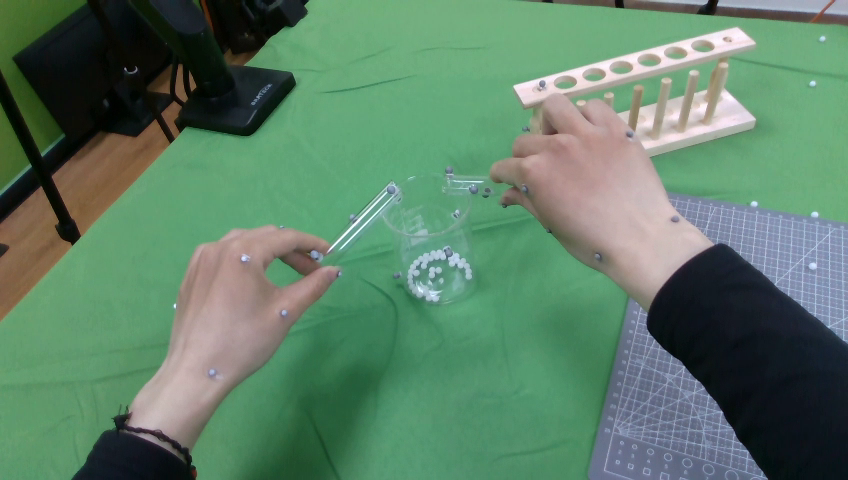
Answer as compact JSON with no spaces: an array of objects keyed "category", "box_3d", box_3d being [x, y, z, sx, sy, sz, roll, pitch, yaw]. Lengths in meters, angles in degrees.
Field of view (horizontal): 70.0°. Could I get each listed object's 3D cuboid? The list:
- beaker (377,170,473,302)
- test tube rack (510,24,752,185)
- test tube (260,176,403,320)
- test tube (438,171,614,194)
[{"category":"beaker","box_3d":[0.007,-0.001,0.529,0.084,0.101,0.073,-37,54,-21]},{"category":"test tube rack","box_3d":[0.214,-0.139,0.622,0.242,0.086,0.066,-16,49,-4]},{"category":"test tube","box_3d":[-0.073,0.007,0.469,0.150,0.017,0.017,-45,52,4]},{"category":"test tube","box_3d":[0.084,-0.045,0.483,0.151,0.017,0.017,0,46,-16]}]
